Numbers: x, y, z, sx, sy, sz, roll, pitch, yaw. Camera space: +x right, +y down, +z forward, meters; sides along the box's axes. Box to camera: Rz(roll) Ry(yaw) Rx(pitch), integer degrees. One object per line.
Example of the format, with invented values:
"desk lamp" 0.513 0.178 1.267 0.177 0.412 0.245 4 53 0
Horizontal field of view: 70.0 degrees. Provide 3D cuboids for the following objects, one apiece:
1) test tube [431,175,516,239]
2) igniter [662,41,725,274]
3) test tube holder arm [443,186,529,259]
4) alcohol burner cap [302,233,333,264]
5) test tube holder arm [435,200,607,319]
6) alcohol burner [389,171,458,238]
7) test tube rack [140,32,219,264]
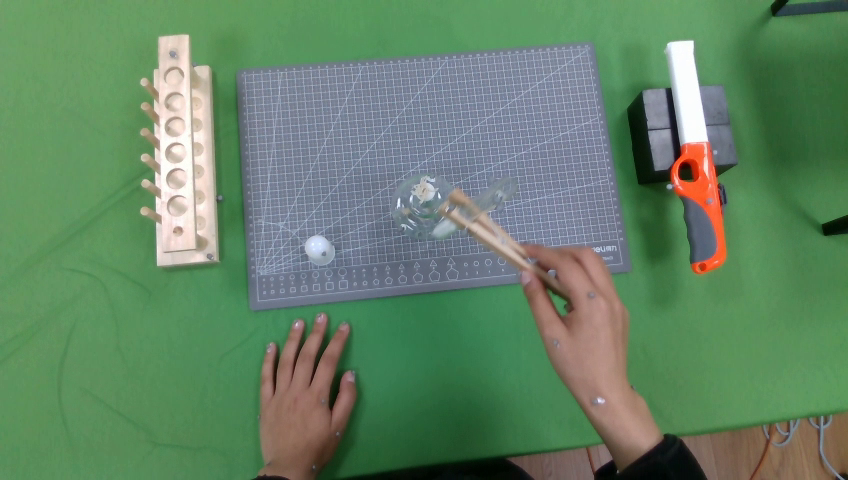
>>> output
"test tube" 0.036 -0.023 0.498 0.017 0.150 0.017 4 76 -18
"igniter" 0.307 -0.098 0.694 0.057 0.025 0.275 -3 79 3
"test tube holder arm" 0.053 -0.012 0.509 0.088 0.015 0.010 42 65 -9
"alcohol burner cap" -0.122 0.007 0.690 0.034 0.048 0.033 1 78 -2
"test tube holder arm" 0.085 0.019 0.516 0.179 0.015 0.013 35 67 -13
"alcohol burner" 0.000 -0.043 0.670 0.078 0.119 0.077 0 80 -1
"test tube rack" -0.282 -0.101 0.684 0.067 0.085 0.241 -5 79 -3
